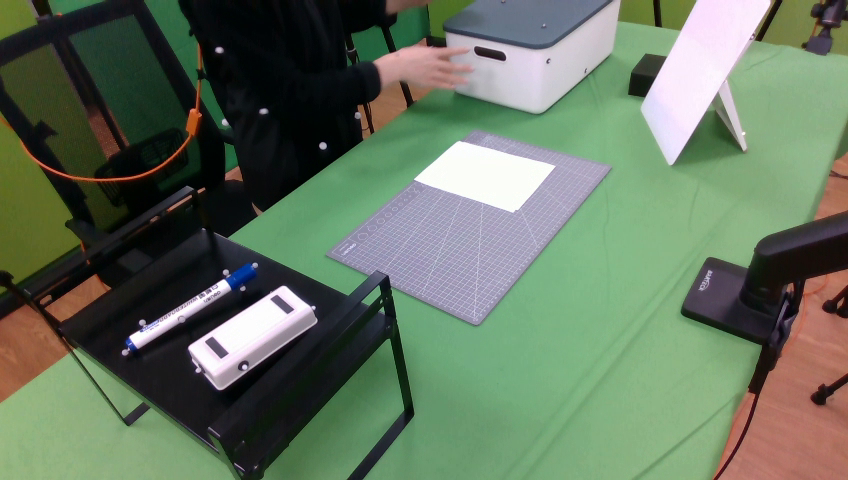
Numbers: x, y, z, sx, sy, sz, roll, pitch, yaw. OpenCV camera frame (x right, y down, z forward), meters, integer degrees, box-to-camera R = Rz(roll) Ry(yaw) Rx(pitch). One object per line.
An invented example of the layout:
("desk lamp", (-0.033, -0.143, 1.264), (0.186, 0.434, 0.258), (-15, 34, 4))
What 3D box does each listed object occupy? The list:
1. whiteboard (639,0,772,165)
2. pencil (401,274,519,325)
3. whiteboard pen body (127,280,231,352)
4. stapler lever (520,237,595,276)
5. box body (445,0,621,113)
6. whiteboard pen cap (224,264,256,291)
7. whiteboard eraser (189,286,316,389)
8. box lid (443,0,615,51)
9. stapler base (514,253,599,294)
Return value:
("whiteboard", (0.543, -0.298, 1.076), (0.144, 0.305, 0.216), (12, 40, -7))
("pencil", (0.056, 0.082, 0.872), (0.195, 0.012, 0.012), (-20, 42, -19))
("whiteboard pen body", (-0.248, 0.072, 0.645), (0.141, 0.017, 0.017), (-35, 47, -23))
("stapler lever", (0.193, 0.018, 0.875), (0.118, 0.040, 0.026), (-21, 43, -17))
("box body", (0.249, -0.447, 1.356), (0.252, 0.161, 0.365), (23, 49, 31))
("whiteboard pen cap", (-0.204, 0.041, 0.668), (0.033, 0.018, 0.018), (-36, 48, -22))
("whiteboard eraser", (-0.166, 0.096, 0.593), (0.113, 0.042, 0.055), (-36, 47, -29))
("box lid", (0.242, -0.504, 1.308), (0.261, 0.015, 0.372), (24, 50, 31))
("stapler base", (0.195, 0.039, 0.891), (0.131, 0.024, 0.041), (-22, 43, -16))
